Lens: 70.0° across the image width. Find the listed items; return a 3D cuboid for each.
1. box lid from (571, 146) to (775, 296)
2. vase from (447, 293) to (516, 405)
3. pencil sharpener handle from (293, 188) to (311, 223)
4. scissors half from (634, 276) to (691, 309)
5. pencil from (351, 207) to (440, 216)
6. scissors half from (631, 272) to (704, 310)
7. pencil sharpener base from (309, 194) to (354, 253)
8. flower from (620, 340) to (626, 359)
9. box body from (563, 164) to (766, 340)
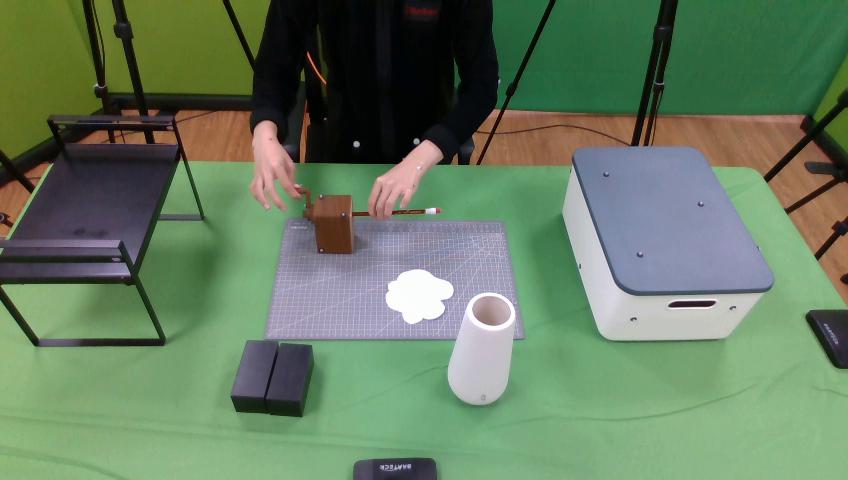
[{"bbox_3d":[0.424,-0.048,1.074,0.263,0.015,0.369,-1,46,-4],"label":"box lid"},{"bbox_3d":[0.091,0.168,0.921,0.098,0.201,0.097,3,47,-3],"label":"vase"},{"bbox_3d":[-0.224,-0.064,1.121,0.031,0.068,0.036,0,23,-3],"label":"pencil sharpener handle"},{"bbox_3d":[0.454,0.096,1.144,0.175,0.040,0.013,-20,88,-31],"label":"scissors half"},{"bbox_3d":[-0.066,-0.052,1.138,0.194,0.012,0.012,-3,47,-4],"label":"pencil"},{"bbox_3d":[0.460,0.092,1.132,0.175,0.040,0.013,-22,83,-21],"label":"scissors half"},{"bbox_3d":[-0.175,-0.030,1.150,0.077,0.107,0.061,0,47,-3],"label":"pencil sharpener base"},{"bbox_3d":[0.416,0.065,1.186,0.038,0.044,0.360,29,64,-20],"label":"flower"},{"bbox_3d":[0.421,0.003,1.130,0.254,0.161,0.361,0,46,-5],"label":"box body"}]
